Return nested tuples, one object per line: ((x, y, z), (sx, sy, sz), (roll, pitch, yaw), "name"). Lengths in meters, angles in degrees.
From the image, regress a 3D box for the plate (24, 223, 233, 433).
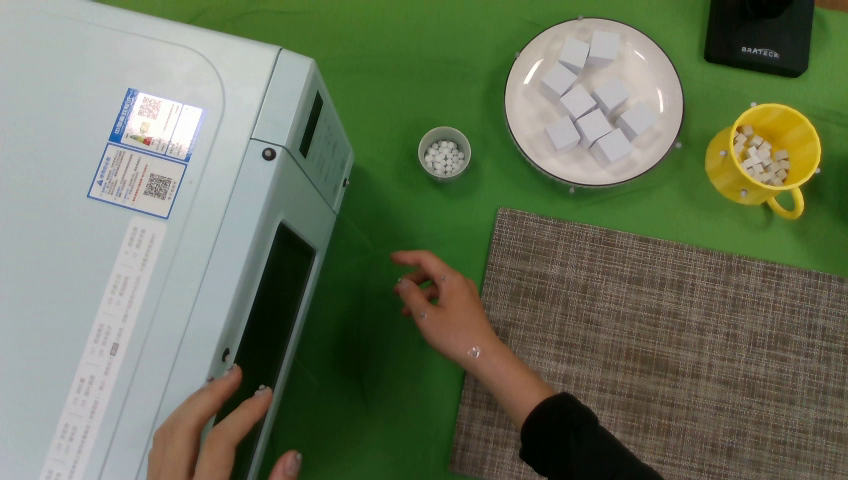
((-0.296, 0.088, 0.620), (0.209, 0.038, 0.208), (0, 82, 1), "plate")

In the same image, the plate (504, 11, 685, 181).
((0.198, -0.167, 0.716), (0.208, 0.039, 0.207), (0, 81, 1), "plate")

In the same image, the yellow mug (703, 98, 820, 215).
((0.387, -0.088, 0.686), (0.100, 0.064, 0.130), (-25, 82, -3), "yellow mug")

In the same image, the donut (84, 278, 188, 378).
((-0.286, 0.087, 0.605), (0.099, 0.048, 0.099), (0, 84, -2), "donut")

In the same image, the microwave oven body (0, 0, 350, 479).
((-0.296, 0.031, 0.575), (0.326, 0.261, 0.440), (15, 82, 3), "microwave oven body")

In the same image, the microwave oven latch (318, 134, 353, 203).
((-0.104, -0.084, 0.688), (0.030, 0.029, 0.079), (19, 82, 4), "microwave oven latch")

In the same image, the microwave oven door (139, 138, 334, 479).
((-0.167, 0.108, 0.556), (0.039, 0.244, 0.354), (15, 81, 4), "microwave oven door")

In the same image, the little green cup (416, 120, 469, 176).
((0.022, -0.104, 0.706), (0.061, 0.039, 0.061), (0, 82, 1), "little green cup")
